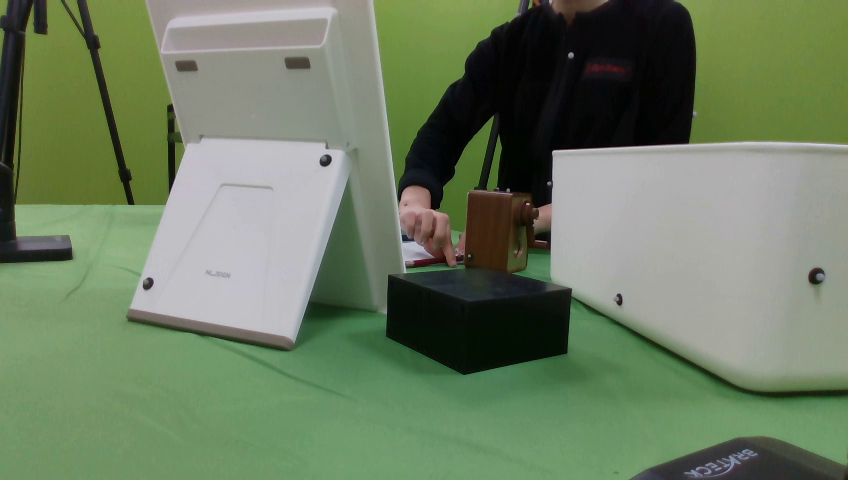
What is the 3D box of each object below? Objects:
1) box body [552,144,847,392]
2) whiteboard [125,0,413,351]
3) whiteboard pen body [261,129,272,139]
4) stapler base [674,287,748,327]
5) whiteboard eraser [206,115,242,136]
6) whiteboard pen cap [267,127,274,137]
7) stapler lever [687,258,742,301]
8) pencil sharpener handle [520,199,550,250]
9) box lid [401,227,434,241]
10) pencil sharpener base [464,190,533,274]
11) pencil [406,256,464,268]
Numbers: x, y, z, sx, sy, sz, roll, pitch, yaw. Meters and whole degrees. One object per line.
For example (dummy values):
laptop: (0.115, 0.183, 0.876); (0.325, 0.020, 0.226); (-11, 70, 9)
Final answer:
box body: (0.290, 0.002, 0.549); (0.255, 0.160, 0.363); (2, 7, -10)
whiteboard: (-0.151, -0.050, 0.471); (0.216, 0.305, 0.144); (6, 27, 24)
whiteboard pen body: (-0.361, -0.245, 1.393); (0.017, 0.017, 0.140); (0, 5, -20)
stapler base: (0.281, 0.061, 0.586); (0.041, 0.024, 0.131); (10, 8, 37)
whiteboard eraser: (-0.438, -0.249, 1.320); (0.056, 0.042, 0.112); (-3, 9, -30)
whiteboard pen cap: (-0.340, -0.239, 1.337); (0.018, 0.018, 0.033); (1, -1, -14)
stapler lever: (0.283, 0.035, 0.585); (0.026, 0.040, 0.119); (11, 8, 37)
pencil sharpener handle: (0.147, -0.019, 0.785); (0.030, 0.068, 0.036); (9, 26, 36)
box lid: (-0.196, -0.015, 1.105); (0.373, 0.015, 0.262); (-1, 7, -32)
pencil sharpener base: (0.102, -0.012, 0.813); (0.076, 0.107, 0.061); (9, 9, 36)
pencil: (0.041, 0.028, 0.850); (0.195, 0.012, 0.012); (-6, 11, -44)
